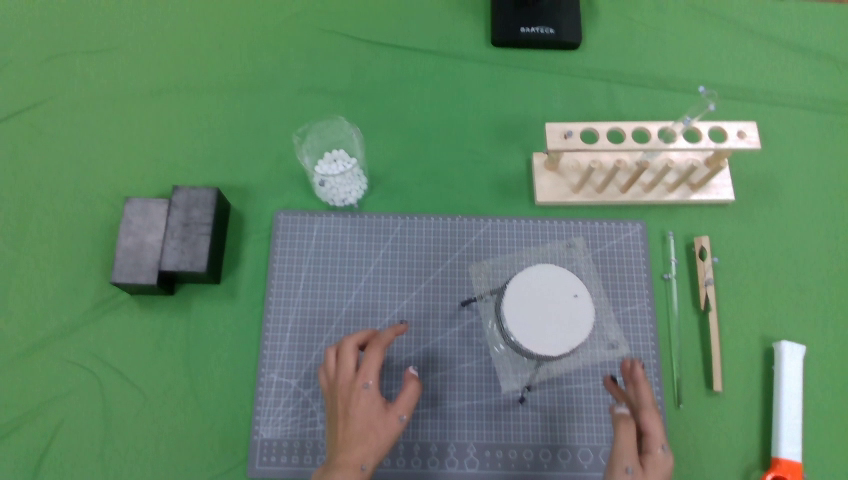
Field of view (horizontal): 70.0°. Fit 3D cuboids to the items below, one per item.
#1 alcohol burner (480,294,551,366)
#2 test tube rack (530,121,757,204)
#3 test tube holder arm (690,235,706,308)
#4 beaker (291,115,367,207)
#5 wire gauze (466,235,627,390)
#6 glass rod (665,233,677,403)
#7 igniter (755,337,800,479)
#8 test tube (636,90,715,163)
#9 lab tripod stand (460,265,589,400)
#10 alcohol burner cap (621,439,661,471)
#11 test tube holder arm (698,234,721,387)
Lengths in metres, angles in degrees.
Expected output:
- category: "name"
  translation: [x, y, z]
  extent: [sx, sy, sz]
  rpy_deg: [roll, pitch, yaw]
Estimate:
- category: "alcohol burner"
  translation: [0.099, 0.091, 0.637]
  extent: [0.078, 0.120, 0.077]
  rpy_deg: [1, 70, -1]
- category: "test tube rack"
  translation: [0.256, -0.091, 0.720]
  extent: [0.242, 0.085, 0.066]
  rpy_deg: [-1, 71, -2]
- category: "test tube holder arm"
  translation: [0.325, 0.037, 0.716]
  extent: [0.010, 0.015, 0.087]
  rpy_deg: [-9, 70, 30]
- category: "beaker"
  translation: [-0.106, -0.087, 0.699]
  extent: [0.084, 0.101, 0.073]
  rpy_deg: [19, 72, 5]
- category: "wire gauze"
  translation: [0.111, 0.064, 0.565]
  extent: [0.121, 0.011, 0.124]
  rpy_deg: [-14, 72, -5]
- category: "glass rod"
  translation: [0.287, 0.087, 0.703]
  extent: [0.008, 0.008, 0.198]
  rpy_deg: [4, 75, -1]
- category: "igniter"
  translation: [0.381, 0.241, 0.647]
  extent: [0.057, 0.025, 0.275]
  rpy_deg: [15, 72, -7]
- category: "test tube"
  translation: [0.276, -0.121, 0.678]
  extent: [0.017, 0.151, 0.017]
  rpy_deg: [2, 71, -7]
- category: "lab tripod stand"
  translation: [0.105, 0.086, 0.628]
  extent: [0.148, 0.132, 0.147]
  rpy_deg: [0, 72, 0]
- category: "alcohol burner cap"
  translation: [0.230, 0.225, 0.636]
  extent: [0.034, 0.048, 0.033]
  rpy_deg: [1, 71, -1]
- category: "test tube holder arm"
  translation: [0.329, 0.079, 0.700]
  extent: [0.013, 0.015, 0.177]
  rpy_deg: [-10, 70, 30]
